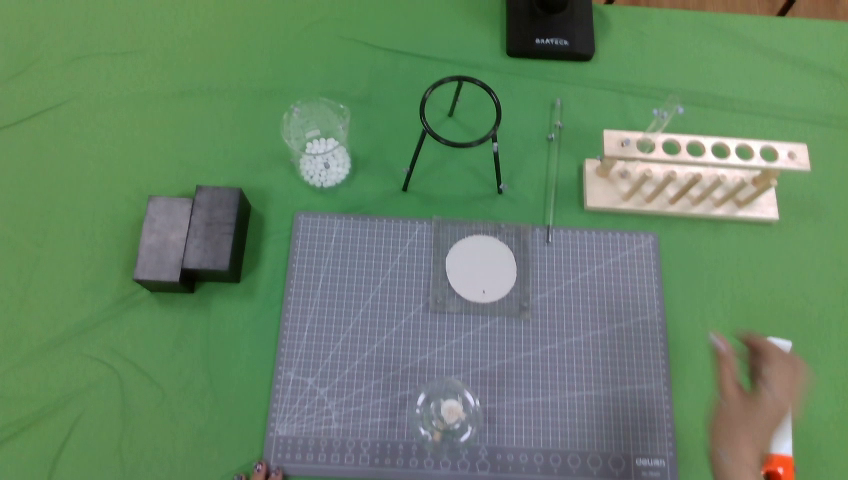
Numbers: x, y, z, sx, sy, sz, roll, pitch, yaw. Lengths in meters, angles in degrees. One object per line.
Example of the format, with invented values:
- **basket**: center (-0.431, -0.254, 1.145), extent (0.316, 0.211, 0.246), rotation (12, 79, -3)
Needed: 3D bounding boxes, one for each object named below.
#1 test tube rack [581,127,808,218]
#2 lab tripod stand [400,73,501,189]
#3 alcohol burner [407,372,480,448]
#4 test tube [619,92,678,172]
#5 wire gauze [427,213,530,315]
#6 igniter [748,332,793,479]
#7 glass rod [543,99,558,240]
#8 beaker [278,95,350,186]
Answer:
- **test tube rack**: center (0.324, -0.080, 0.739), extent (0.242, 0.085, 0.066), rotation (3, 71, -2)
- **lab tripod stand**: center (0.034, -0.125, 0.714), extent (0.148, 0.132, 0.147), rotation (0, 70, -1)
- **alcohol burner**: center (0.022, 0.172, 0.621), extent (0.078, 0.120, 0.077), rotation (2, 69, -4)
- **test tube**: center (0.254, -0.119, 0.697), extent (0.017, 0.151, 0.017), rotation (1, 68, -1)
- **wire gauze**: center (0.066, 0.026, 0.728), extent (0.125, 0.011, 0.120), rotation (5, 70, 0)
- **igniter**: center (0.384, 0.238, 0.666), extent (0.057, 0.025, 0.275), rotation (13, 72, -7)
- **glass rod**: center (0.163, -0.093, 0.775), extent (0.008, 0.008, 0.198), rotation (8, 72, 0)
- **beaker**: center (-0.124, -0.115, 0.720), extent (0.084, 0.101, 0.073), rotation (-34, 76, -14)
